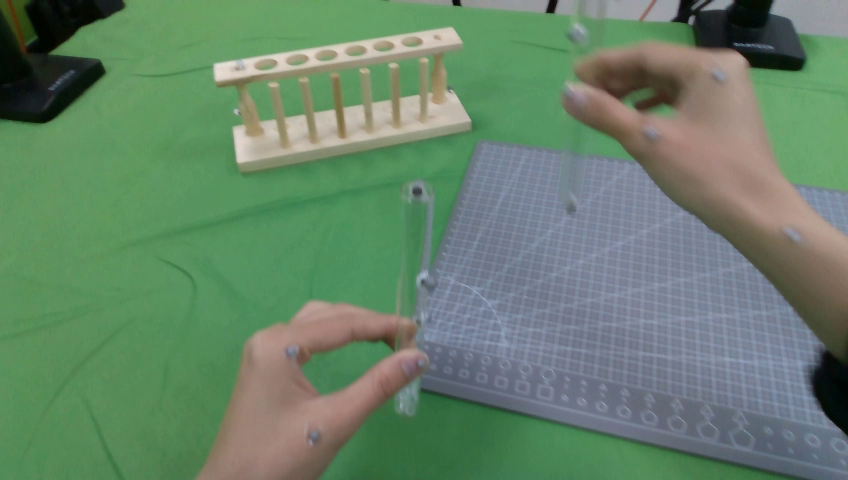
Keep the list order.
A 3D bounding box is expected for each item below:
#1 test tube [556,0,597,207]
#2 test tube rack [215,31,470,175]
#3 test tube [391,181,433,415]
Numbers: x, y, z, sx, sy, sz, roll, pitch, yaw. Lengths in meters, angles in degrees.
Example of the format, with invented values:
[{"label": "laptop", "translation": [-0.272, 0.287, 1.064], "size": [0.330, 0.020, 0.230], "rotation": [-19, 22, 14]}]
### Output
[{"label": "test tube", "translation": [0.084, -0.082, 0.338], "size": [0.017, 0.151, 0.017], "rotation": [-4, 37, 3]}, {"label": "test tube rack", "translation": [-0.077, -0.141, 0.618], "size": [0.243, 0.086, 0.066], "rotation": [-12, 46, -10]}, {"label": "test tube", "translation": [-0.007, 0.038, 0.303], "size": [0.017, 0.152, 0.017], "rotation": [2, 37, -1]}]
